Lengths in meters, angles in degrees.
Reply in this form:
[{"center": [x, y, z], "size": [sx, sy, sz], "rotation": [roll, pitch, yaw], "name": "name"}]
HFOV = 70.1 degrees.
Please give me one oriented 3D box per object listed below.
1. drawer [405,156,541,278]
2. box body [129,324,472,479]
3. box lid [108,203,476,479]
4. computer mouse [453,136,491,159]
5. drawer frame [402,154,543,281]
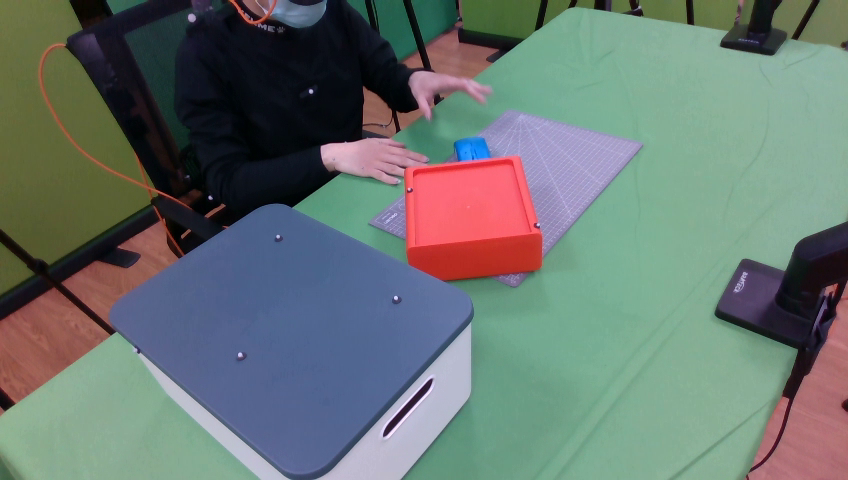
[{"center": [0.071, -0.040, 0.961], "size": [0.194, 0.073, 0.210], "rotation": [-5, 41, 1], "name": "drawer"}, {"center": [-0.147, 0.136, 0.726], "size": [0.361, 0.161, 0.255], "rotation": [24, 50, 32], "name": "box body"}, {"center": [-0.156, 0.079, 0.678], "size": [0.368, 0.015, 0.264], "rotation": [24, 49, 32], "name": "box lid"}, {"center": [0.091, -0.157, 1.128], "size": [0.063, 0.041, 0.116], "rotation": [-7, 45, -2], "name": "computer mouse"}, {"center": [0.071, -0.041, 0.958], "size": [0.202, 0.083, 0.212], "rotation": [-6, 41, 1], "name": "drawer frame"}]
